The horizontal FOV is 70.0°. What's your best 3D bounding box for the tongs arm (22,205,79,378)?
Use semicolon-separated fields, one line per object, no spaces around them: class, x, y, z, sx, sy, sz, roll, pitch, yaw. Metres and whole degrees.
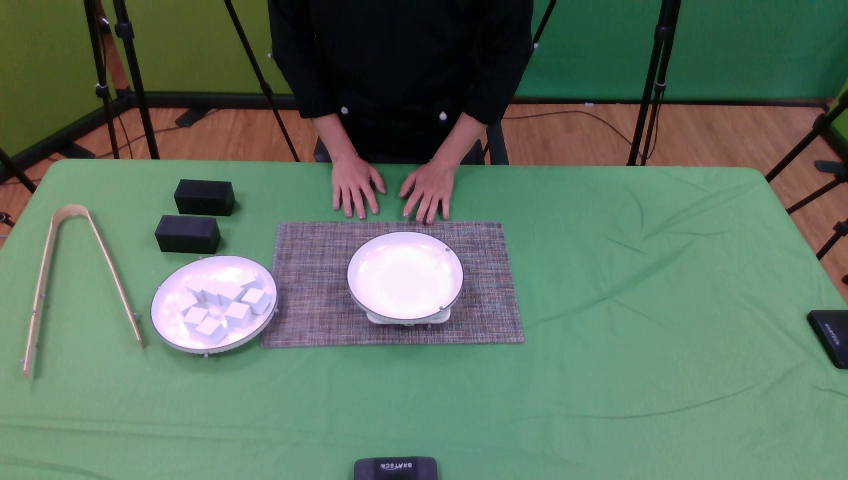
tongs arm;-0.652;0.073;1.067;0.051;0.026;0.382;-11;46;-14

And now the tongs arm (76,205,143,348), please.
tongs arm;-0.570;0.053;1.097;0.028;0.028;0.385;-26;52;-22

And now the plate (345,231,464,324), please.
plate;-0.034;0.069;1.069;0.209;0.038;0.208;2;46;-2

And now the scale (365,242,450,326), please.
scale;-0.032;0.071;1.113;0.149;0.032;0.199;0;46;-4

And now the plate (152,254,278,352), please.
plate;-0.357;0.111;1.052;0.208;0.039;0.206;2;46;-2
